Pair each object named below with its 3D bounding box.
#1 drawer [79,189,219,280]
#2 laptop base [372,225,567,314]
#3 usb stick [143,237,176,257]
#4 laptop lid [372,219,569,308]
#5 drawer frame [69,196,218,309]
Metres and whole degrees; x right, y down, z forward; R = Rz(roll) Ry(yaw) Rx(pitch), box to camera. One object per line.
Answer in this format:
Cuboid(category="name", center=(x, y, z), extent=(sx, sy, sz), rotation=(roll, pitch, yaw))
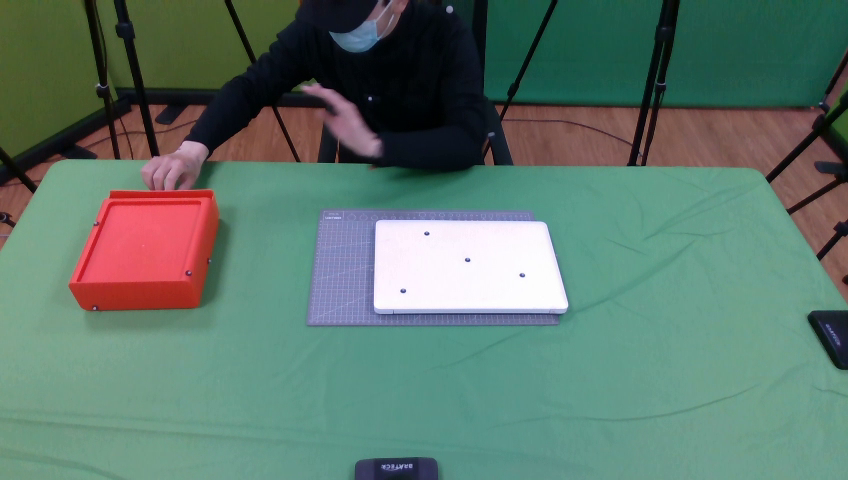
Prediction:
Cuboid(category="drawer", center=(-0.499, -0.002, 1.120), extent=(0.195, 0.073, 0.210), rotation=(0, 46, -6))
Cuboid(category="laptop base", center=(0.080, 0.049, 1.158), extent=(0.355, 0.023, 0.234), rotation=(0, 43, -4))
Cuboid(category="usb stick", center=(-0.497, 0.012, 1.134), extent=(0.059, 0.027, 0.021), rotation=(11, 46, 6))
Cuboid(category="laptop lid", center=(0.081, 0.039, 1.152), extent=(0.357, 0.013, 0.240), rotation=(2, 44, -3))
Cuboid(category="drawer frame", center=(-0.497, 0.018, 1.101), extent=(0.202, 0.083, 0.212), rotation=(-1, 47, -6))
